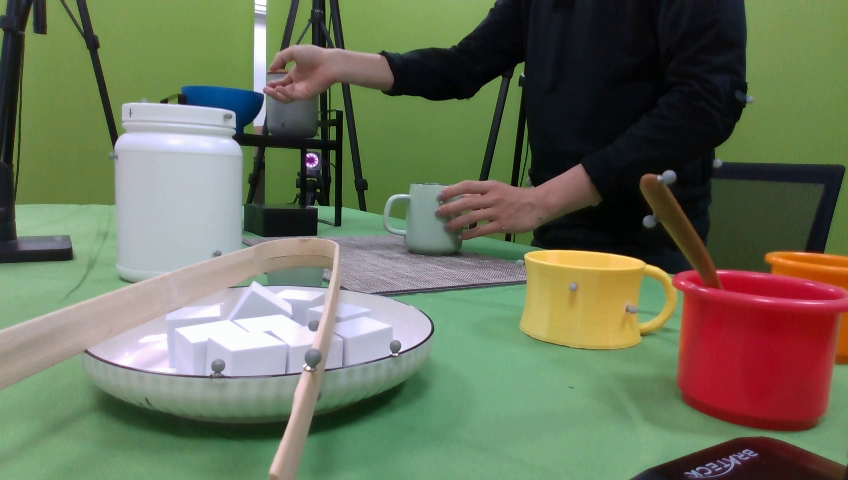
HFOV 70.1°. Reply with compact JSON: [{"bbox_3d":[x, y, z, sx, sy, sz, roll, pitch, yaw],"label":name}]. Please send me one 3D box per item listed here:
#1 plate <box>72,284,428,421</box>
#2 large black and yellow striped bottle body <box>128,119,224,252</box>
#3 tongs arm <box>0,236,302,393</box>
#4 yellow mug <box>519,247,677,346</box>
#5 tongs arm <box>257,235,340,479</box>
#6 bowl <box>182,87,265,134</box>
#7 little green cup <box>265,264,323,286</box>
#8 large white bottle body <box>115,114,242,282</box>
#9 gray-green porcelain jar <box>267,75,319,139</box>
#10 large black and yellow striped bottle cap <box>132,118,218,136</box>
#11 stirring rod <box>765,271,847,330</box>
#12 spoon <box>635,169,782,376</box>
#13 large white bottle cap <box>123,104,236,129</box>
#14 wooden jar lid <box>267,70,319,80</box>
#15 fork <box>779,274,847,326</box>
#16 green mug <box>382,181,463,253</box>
[{"bbox_3d":[-0.102,0.067,0.381,0.208,0.039,0.207,3,7,0],"label":"plate"},{"bbox_3d":[-0.361,-0.081,0.887,0.131,0.184,0.130,2,8,0],"label":"large black and yellow striped bottle body"},{"bbox_3d":[-0.157,0.038,0.347,0.028,0.028,0.388,-3,8,11],"label":"tongs arm"},{"bbox_3d":[0.148,0.045,0.513,0.131,0.064,0.100,3,7,0],"label":"yellow mug"},{"bbox_3d":[-0.074,0.040,0.345,0.051,0.026,0.384,-1,10,-3],"label":"tongs arm"},{"bbox_3d":[-0.383,-0.244,1.158,0.151,0.077,0.151,2,7,0],"label":"bowl"},{"bbox_3d":[-0.134,0.033,0.628,0.061,0.038,0.061,3,7,0],"label":"little green cup"},{"bbox_3d":[-0.270,-0.051,0.673,0.131,0.184,0.130,2,8,0],"label":"large white bottle body"},{"bbox_3d":[-0.277,-0.279,1.280,0.106,0.126,0.106,2,8,0],"label":"gray-green porcelain jar"},{"bbox_3d":[-0.359,-0.164,0.875,0.115,0.019,0.115,2,6,0],"label":"large black and yellow striped bottle cap"},{"bbox_3d":[0.352,0.020,0.481,0.176,0.006,0.014,-40,-8,17],"label":"stirring rod"},{"bbox_3d":[0.161,0.026,0.346,0.041,0.194,0.021,10,56,53],"label":"spoon"},{"bbox_3d":[-0.266,-0.134,0.663,0.115,0.018,0.115,3,7,0],"label":"large white bottle cap"},{"bbox_3d":[-0.275,-0.339,1.271,0.108,0.020,0.108,5,6,0],"label":"wooden jar lid"},{"bbox_3d":[0.332,0.019,0.443,0.028,0.018,0.207,-3,-35,-16],"label":"fork"},{"bbox_3d":[-0.001,-0.036,0.921,0.126,0.105,0.092,0,8,-16],"label":"green mug"}]
